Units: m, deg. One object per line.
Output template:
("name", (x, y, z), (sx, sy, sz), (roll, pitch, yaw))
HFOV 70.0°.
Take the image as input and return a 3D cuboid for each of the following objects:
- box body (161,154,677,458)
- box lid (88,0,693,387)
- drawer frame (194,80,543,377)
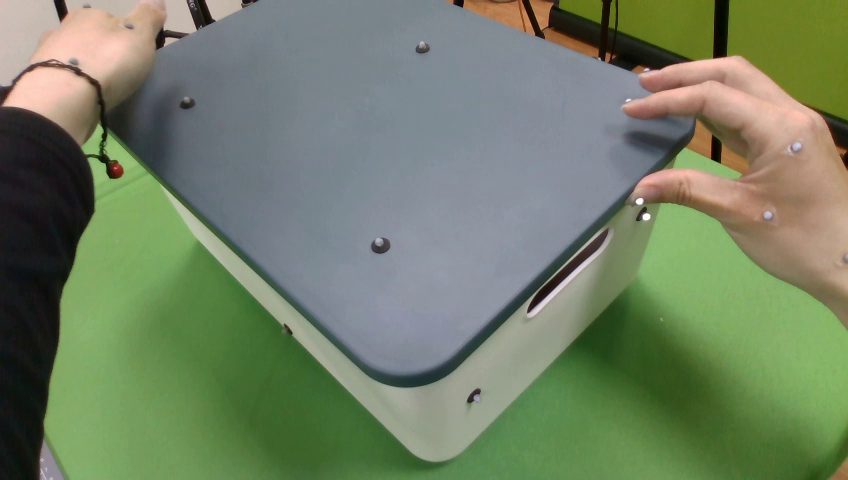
("box body", (-0.031, -0.043, 0.480), (0.254, 0.162, 0.360), (-38, 54, -24))
("box lid", (-0.041, -0.089, 0.413), (0.263, 0.015, 0.368), (-40, 56, -23))
("drawer frame", (-0.044, -0.026, 0.513), (0.200, 0.083, 0.213), (30, 58, 30))
